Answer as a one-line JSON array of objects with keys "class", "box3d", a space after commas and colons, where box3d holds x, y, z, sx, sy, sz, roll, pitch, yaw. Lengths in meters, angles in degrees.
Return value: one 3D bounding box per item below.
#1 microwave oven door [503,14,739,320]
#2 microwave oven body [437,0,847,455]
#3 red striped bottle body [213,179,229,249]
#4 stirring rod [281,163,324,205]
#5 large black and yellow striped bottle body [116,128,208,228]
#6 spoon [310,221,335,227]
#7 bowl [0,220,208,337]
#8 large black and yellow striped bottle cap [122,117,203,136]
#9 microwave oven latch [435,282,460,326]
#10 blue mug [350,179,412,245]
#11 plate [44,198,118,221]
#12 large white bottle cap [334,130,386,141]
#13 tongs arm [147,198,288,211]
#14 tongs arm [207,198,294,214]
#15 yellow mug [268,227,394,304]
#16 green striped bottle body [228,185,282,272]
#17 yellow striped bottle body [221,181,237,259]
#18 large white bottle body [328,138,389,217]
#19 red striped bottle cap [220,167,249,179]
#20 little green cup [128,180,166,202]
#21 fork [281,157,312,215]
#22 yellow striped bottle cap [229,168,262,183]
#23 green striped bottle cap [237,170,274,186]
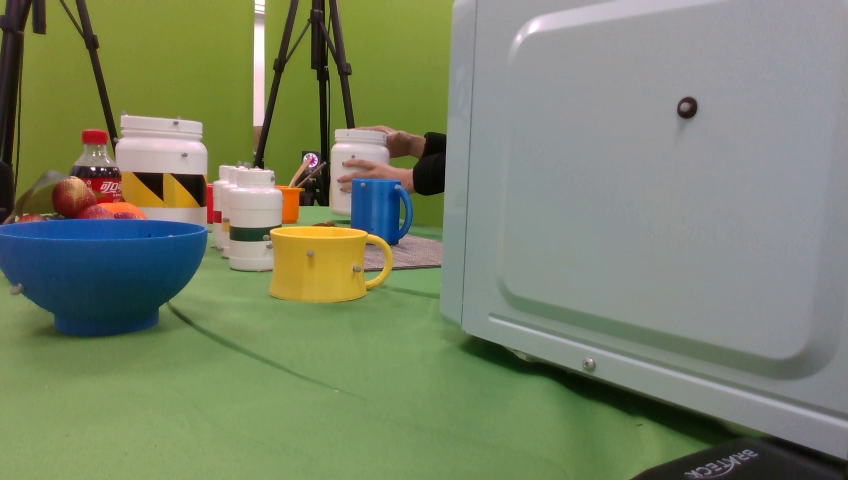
[{"class": "microwave oven door", "box3d": [0.218, -0.065, 0.600, 0.358, 0.243, 0.039, -4, 10, -41]}, {"class": "microwave oven body", "box3d": [0.279, -0.040, 0.464, 0.444, 0.260, 0.324, -3, 8, -41]}, {"class": "red striped bottle body", "box3d": [-0.283, -0.048, 0.909, 0.063, 0.119, 0.063, 3, 10, 0]}, {"class": "stirring rod", "box3d": [-0.278, -0.105, 1.293, 0.176, 0.006, 0.014, -47, 25, -18]}, {"class": "large black and yellow striped bottle body", "box3d": [-0.404, -0.089, 0.937, 0.131, 0.184, 0.130, 3, 7, 0]}, {"class": "spoon", "box3d": [-0.185, -0.027, 1.130, 0.041, 0.021, 0.193, -18, 6, 2]}, {"class": "bowl", "box3d": [-0.251, 0.029, 0.479, 0.151, 0.077, 0.151, 2, 7, 0]}, {"class": "large black and yellow striped bottle cap", "box3d": [-0.399, -0.174, 0.927, 0.115, 0.019, 0.115, 5, 9, -1]}, {"class": "microwave oven latch", "box3d": [0.044, 0.046, 0.470, 0.079, 0.029, 0.030, -3, 8, -40]}, {"class": "blue mug", "box3d": [-0.068, -0.046, 1.000, 0.116, 0.106, 0.083, 7, 9, 32]}, {"class": "plate", "box3d": [-0.617, -0.056, 1.179, 0.209, 0.038, 0.209, 3, 7, 0]}, {"class": "large white bottle cap", "box3d": [-0.141, -0.229, 1.334, 0.115, 0.018, 0.115, 3, 6, 0]}, {"class": "tongs arm", "box3d": [-0.503, -0.090, 1.513, 0.028, 0.028, 0.389, -1, 3, 38]}, {"class": "tongs arm", "box3d": [-0.423, -0.084, 1.472, 0.050, 0.026, 0.386, 1, 6, 22]}, {"class": "yellow mug", "box3d": [-0.094, 0.023, 0.629, 0.131, 0.064, 0.099, 0, 7, -22]}, {"class": "green striped bottle body", "box3d": [-0.208, -0.023, 0.745, 0.063, 0.119, 0.063, 2, 7, 0]}, {"class": "yellow striped bottle body", "box3d": [-0.244, -0.035, 0.824, 0.063, 0.120, 0.063, 2, 8, 0]}, {"class": "large white bottle body", "box3d": [-0.145, -0.146, 1.345, 0.131, 0.184, 0.130, 3, 7, 0]}, {"class": "red striped bottle cap", "box3d": [-0.281, -0.100, 0.901, 0.044, 0.017, 0.044, 0, 5, 0]}, {"class": "little green cup", "box3d": [-0.485, -0.087, 1.062, 0.061, 0.038, 0.061, 0, 7, 0]}, {"class": "fork", "box3d": [-0.289, -0.116, 1.321, 0.028, 0.019, 0.207, 5, 51, 21]}, {"class": "yellow striped bottle cap", "box3d": [-0.240, -0.087, 0.816, 0.044, 0.018, 0.044, -3, 6, 1]}, {"class": "green striped bottle cap", "box3d": [-0.205, -0.075, 0.737, 0.044, 0.020, 0.044, 2, 5, 0]}]
